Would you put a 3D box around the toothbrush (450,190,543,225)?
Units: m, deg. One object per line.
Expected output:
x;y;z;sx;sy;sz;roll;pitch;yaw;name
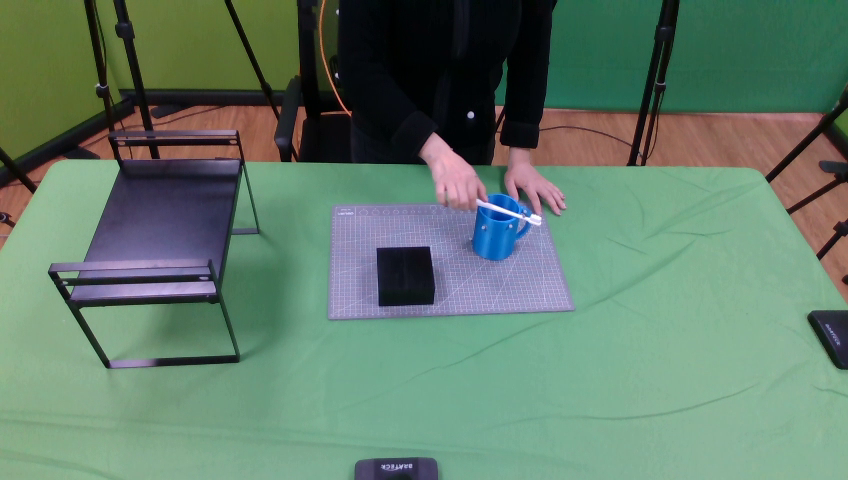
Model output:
0.133;-0.063;1.123;0.181;0.017;0.014;19;53;14;toothbrush

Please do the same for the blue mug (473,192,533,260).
0.156;-0.029;1.173;0.117;0.106;0.082;-8;47;-11;blue mug
